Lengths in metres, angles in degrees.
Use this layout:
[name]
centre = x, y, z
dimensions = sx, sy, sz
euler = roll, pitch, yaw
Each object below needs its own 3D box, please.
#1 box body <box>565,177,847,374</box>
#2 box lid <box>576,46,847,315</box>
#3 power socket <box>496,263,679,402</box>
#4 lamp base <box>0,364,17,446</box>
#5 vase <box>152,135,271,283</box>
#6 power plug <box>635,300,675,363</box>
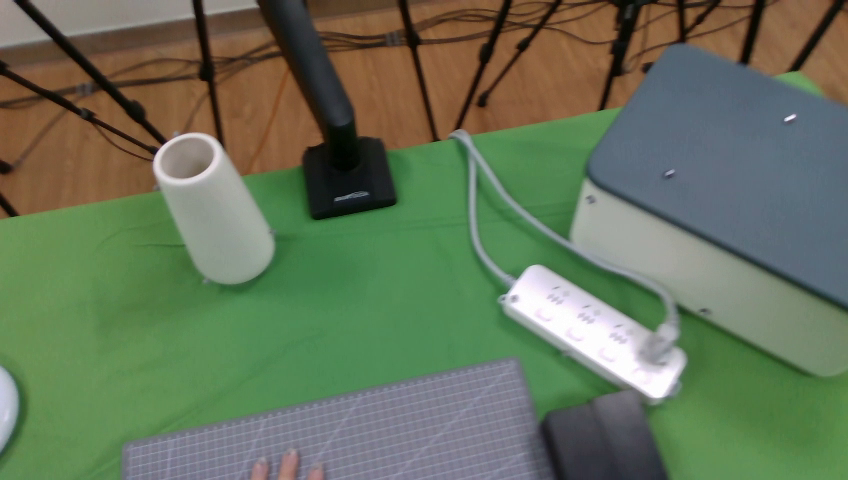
[box body]
centre = 0.383, -0.037, 0.734
dimensions = 0.362, 0.162, 0.253
euler = 29, 63, 17
[box lid]
centre = 0.384, -0.075, 0.671
dimensions = 0.369, 0.015, 0.262
euler = 29, 63, 17
[power socket]
centre = 0.193, 0.107, 0.721
dimensions = 0.225, 0.033, 0.072
euler = 32, 63, 19
[lamp base]
centre = -0.542, 0.151, 0.604
dimensions = 0.160, 0.182, 0.177
euler = -40, 63, -22
[vase]
centre = -0.244, -0.031, 0.708
dimensions = 0.098, 0.201, 0.097
euler = 1, 57, 0
[power plug]
centre = 0.271, 0.111, 0.692
dimensions = 0.072, 0.053, 0.035
euler = -37, 62, -26
